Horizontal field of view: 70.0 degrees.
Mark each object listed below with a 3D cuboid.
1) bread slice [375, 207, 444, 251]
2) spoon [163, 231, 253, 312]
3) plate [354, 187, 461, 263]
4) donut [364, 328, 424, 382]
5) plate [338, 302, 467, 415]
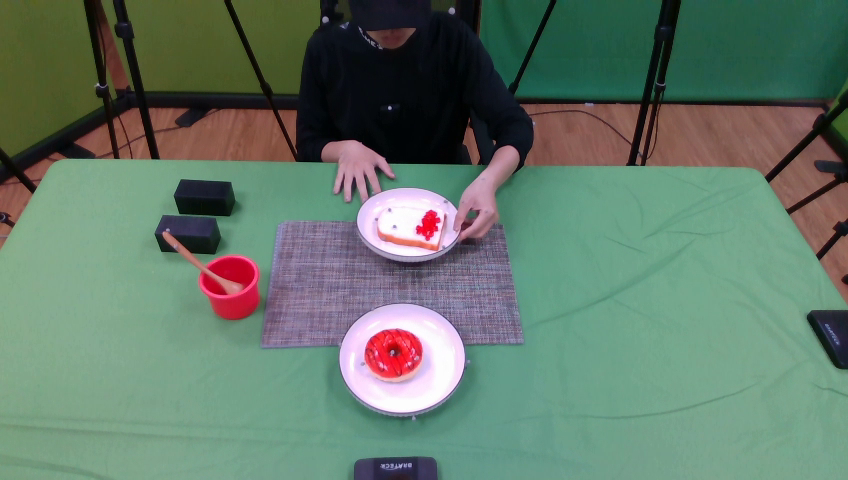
[{"bbox_3d":[-0.031,-0.026,1.189,0.131,0.019,0.104,10,43,2],"label":"bread slice"},{"bbox_3d":[-0.364,0.054,1.025,0.194,0.021,0.041,43,49,-17],"label":"spoon"},{"bbox_3d":[-0.033,-0.026,1.185,0.209,0.038,0.208,3,43,-3],"label":"plate"},{"bbox_3d":[-0.049,0.185,0.983,0.099,0.048,0.098,1,45,-1],"label":"donut"},{"bbox_3d":[-0.035,0.194,0.992,0.208,0.039,0.206,2,48,-2],"label":"plate"}]
